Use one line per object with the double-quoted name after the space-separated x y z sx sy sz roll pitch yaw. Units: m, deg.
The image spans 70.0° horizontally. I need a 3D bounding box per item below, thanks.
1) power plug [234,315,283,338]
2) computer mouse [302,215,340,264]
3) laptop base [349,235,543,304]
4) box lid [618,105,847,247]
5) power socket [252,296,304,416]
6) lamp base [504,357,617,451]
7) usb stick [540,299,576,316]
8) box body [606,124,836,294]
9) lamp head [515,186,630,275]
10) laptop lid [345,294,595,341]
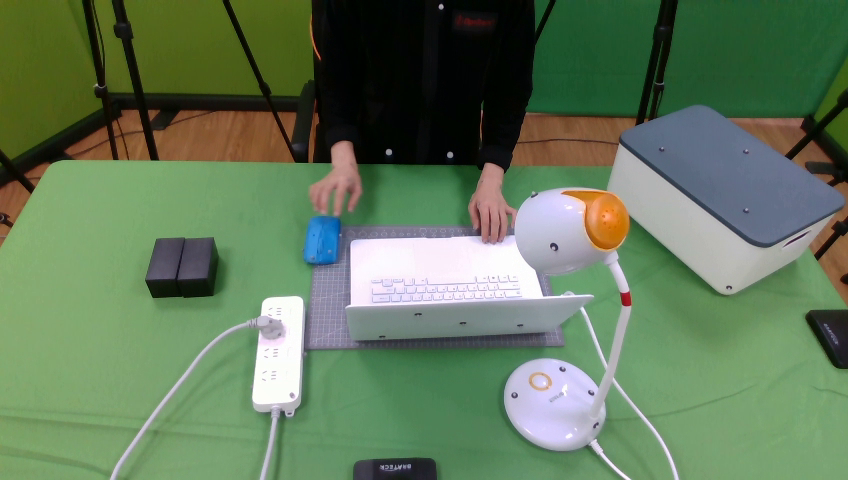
-0.269 0.143 1.000 0.072 0.053 0.035 4 47 3 "power plug"
-0.198 -0.005 1.172 0.063 0.041 0.116 4 50 -3 "computer mouse"
0.039 0.081 1.124 0.355 0.023 0.234 -2 43 -6 "laptop base"
0.587 -0.138 1.175 0.263 0.015 0.369 -22 50 -22 "box lid"
-0.238 0.181 0.997 0.072 0.033 0.225 -3 47 -5 "power socket"
0.220 0.211 0.902 0.160 0.181 0.178 -32 59 -30 "lamp base"
0.239 0.121 1.083 0.059 0.027 0.021 -1 51 -2 "usb stick"
0.584 -0.088 1.230 0.254 0.161 0.361 -22 52 -23 "box body"
0.188 -0.013 0.728 0.112 0.112 0.122 -25 9 -25 "lamp head"
0.059 0.124 0.934 0.357 0.242 0.013 -1 69 -7 "laptop lid"
